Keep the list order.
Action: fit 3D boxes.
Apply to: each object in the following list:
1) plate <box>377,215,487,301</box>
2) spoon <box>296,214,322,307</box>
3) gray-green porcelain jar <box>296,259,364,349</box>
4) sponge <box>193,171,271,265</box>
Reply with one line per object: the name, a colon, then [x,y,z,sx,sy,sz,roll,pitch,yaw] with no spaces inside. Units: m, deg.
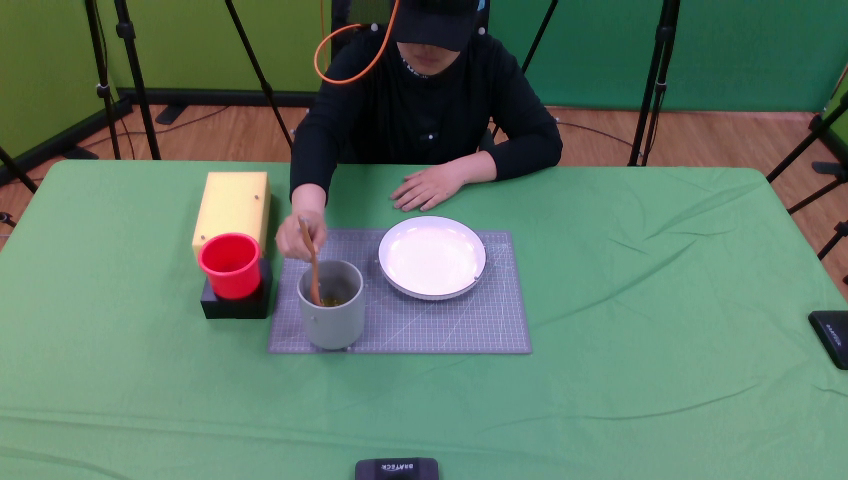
plate: [0.015,0.037,1.147,0.208,0.039,0.206,2,46,-2]
spoon: [-0.175,0.040,0.939,0.022,0.194,0.041,-14,36,-17]
gray-green porcelain jar: [-0.152,0.111,1.003,0.106,0.127,0.105,2,46,-2]
sponge: [-0.371,-0.047,1.189,0.118,0.061,0.205,-3,46,-6]
